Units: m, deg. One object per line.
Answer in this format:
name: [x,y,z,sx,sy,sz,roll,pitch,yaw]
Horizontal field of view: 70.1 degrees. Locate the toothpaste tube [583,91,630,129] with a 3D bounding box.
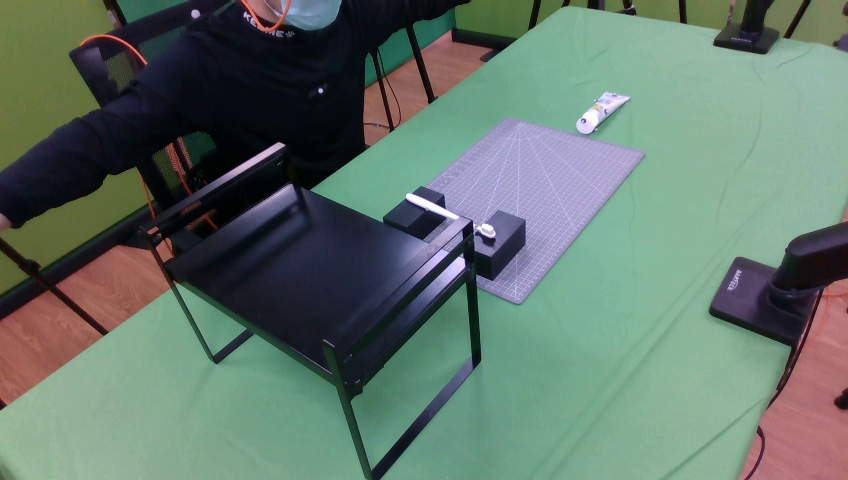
toothpaste tube: [0.364,-0.266,1.223,0.054,0.034,0.165,25,46,24]

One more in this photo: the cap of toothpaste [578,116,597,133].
cap of toothpaste: [0.316,-0.224,1.172,0.037,0.037,0.011,15,45,24]

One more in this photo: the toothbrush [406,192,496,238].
toothbrush: [0.038,-0.043,0.937,0.180,0.017,0.014,26,63,35]
